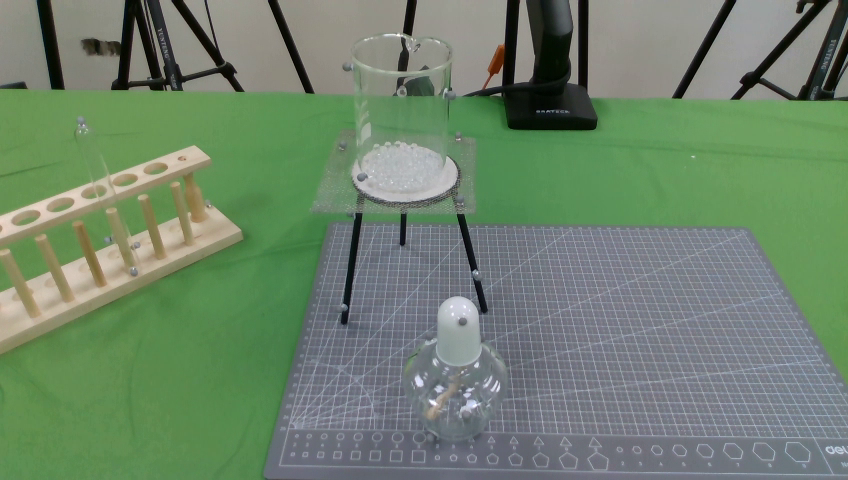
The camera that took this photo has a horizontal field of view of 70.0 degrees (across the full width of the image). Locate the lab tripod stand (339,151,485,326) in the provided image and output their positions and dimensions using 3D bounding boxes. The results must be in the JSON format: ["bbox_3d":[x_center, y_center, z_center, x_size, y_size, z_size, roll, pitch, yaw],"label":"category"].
[{"bbox_3d":[-0.012,0.001,0.528,0.148,0.132,0.147,2,37,-1],"label":"lab tripod stand"}]

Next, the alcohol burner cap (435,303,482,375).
[{"bbox_3d":[0.023,0.063,0.406,0.034,0.048,0.033,-1,38,2],"label":"alcohol burner cap"}]

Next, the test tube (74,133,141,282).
[{"bbox_3d":[-0.275,-0.024,0.529,0.017,0.151,0.017,1,37,0],"label":"test tube"}]

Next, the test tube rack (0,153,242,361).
[{"bbox_3d":[-0.300,0.009,0.558,0.242,0.086,0.066,-30,47,-33],"label":"test tube rack"}]

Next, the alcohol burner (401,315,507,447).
[{"bbox_3d":[0.022,0.092,0.429,0.078,0.120,0.077,1,40,0],"label":"alcohol burner"}]

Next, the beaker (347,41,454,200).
[{"bbox_3d":[-0.017,-0.089,0.457,0.074,0.101,0.083,8,38,7],"label":"beaker"}]

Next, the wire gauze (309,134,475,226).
[{"bbox_3d":[-0.020,-0.050,0.485,0.121,0.011,0.124,3,40,2],"label":"wire gauze"}]
